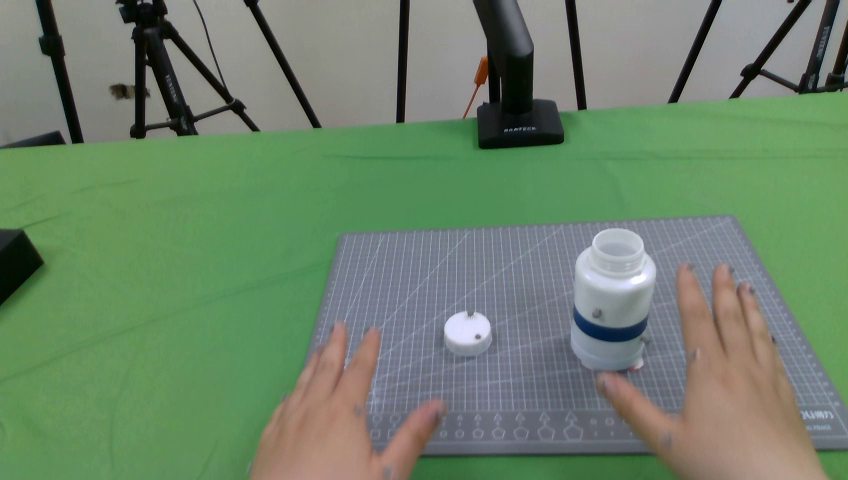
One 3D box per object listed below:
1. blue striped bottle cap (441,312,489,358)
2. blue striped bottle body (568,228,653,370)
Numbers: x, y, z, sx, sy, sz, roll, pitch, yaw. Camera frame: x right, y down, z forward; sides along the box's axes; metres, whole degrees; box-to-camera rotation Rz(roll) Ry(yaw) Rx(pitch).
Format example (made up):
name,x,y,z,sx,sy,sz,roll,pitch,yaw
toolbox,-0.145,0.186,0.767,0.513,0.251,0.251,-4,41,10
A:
name,x,y,z,sx,sy,sz,roll,pitch,yaw
blue striped bottle cap,0.038,0.088,0.564,0.044,0.021,0.044,-3,37,3
blue striped bottle body,0.156,0.048,0.509,0.063,0.122,0.062,-4,38,4
